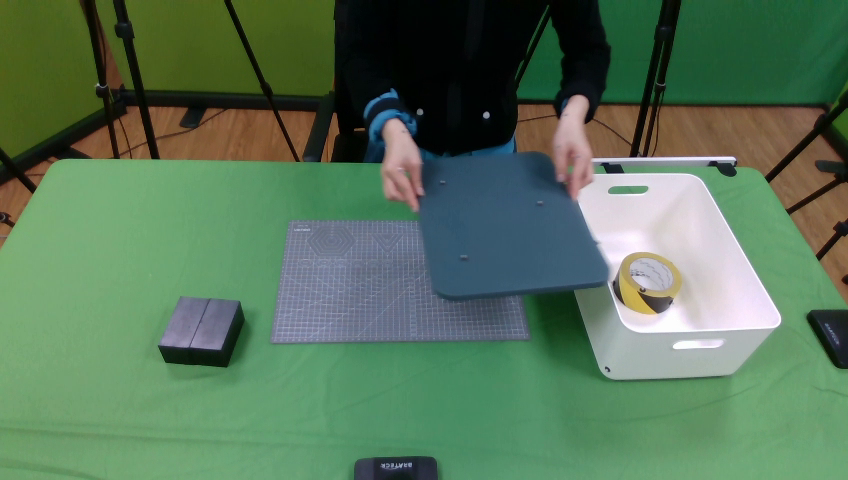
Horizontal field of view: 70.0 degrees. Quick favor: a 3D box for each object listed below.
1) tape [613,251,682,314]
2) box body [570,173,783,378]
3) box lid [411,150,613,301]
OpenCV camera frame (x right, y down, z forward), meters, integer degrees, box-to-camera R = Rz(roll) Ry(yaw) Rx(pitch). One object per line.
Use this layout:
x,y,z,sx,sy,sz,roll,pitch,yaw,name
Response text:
0.413,0.077,1.122,0.117,0.053,0.116,2,45,-2,tape
0.405,0.057,1.074,0.254,0.161,0.361,-2,46,-5,box body
0.124,-0.040,0.978,0.263,0.015,0.369,-5,39,-4,box lid
